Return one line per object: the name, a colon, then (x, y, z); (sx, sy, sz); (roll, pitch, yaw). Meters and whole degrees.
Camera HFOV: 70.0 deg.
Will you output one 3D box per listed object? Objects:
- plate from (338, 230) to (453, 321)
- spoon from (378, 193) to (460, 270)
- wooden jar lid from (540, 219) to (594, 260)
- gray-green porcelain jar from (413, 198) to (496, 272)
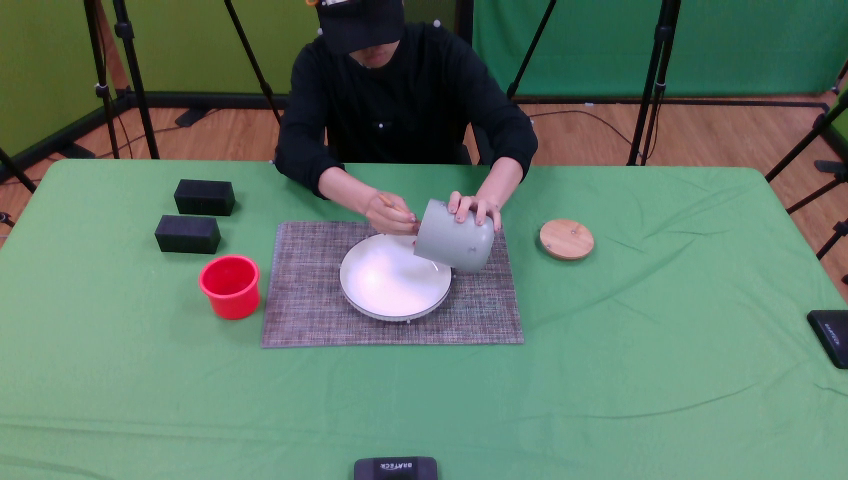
plate: (-0.052, 0.068, 1.111); (0.208, 0.039, 0.206); (2, 46, -2)
spoon: (-0.007, -0.015, 1.045); (0.194, 0.021, 0.041); (38, 23, -9)
wooden jar lid: (0.286, 0.001, 1.218); (0.108, 0.021, 0.107); (1, 46, -1)
gray-green porcelain jar: (0.056, -0.005, 1.058); (0.126, 0.106, 0.105); (17, 47, 2)
